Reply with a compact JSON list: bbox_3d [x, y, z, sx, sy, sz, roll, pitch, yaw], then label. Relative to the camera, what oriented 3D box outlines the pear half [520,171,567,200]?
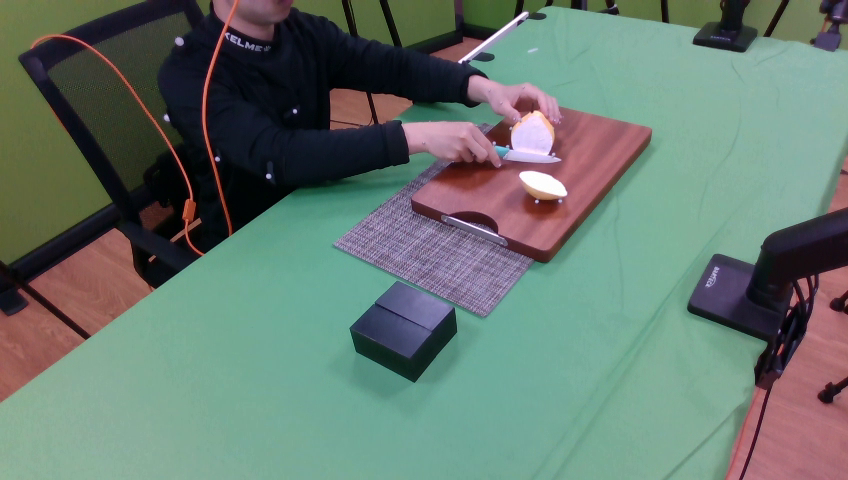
[{"bbox_3d":[0.193,-0.083,0.985,0.071,0.031,0.087,-19,45,-33],"label":"pear half"}]

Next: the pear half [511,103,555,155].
[{"bbox_3d":[0.193,-0.197,1.061,0.076,0.110,0.056,5,43,10],"label":"pear half"}]

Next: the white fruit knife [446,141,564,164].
[{"bbox_3d":[0.143,-0.154,1.070,0.207,0.027,0.016,8,44,5],"label":"white fruit knife"}]
